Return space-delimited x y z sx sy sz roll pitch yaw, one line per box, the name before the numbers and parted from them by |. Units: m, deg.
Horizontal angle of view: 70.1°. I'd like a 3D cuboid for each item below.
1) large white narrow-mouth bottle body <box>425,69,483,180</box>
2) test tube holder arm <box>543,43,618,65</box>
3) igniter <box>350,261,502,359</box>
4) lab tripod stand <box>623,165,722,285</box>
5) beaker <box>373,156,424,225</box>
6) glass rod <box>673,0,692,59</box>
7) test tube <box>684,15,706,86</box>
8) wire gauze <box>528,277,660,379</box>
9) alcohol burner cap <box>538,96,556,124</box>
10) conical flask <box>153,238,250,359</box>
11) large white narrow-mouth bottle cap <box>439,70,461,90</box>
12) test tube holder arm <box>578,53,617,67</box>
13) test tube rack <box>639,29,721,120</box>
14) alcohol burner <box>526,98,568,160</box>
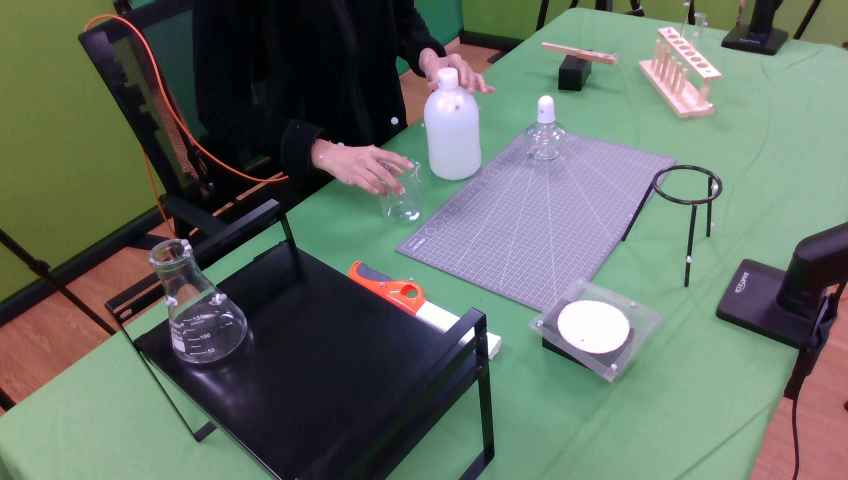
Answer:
large white narrow-mouth bottle body | 0.053 -0.212 1.091 0.102 0.195 0.101 -5 41 4
test tube holder arm | 0.344 -0.413 1.340 0.177 0.015 0.013 25 51 31
igniter | -0.009 0.094 0.870 0.274 0.025 0.057 25 60 33
lab tripod stand | 0.365 -0.030 0.874 0.148 0.132 0.147 -6 41 6
beaker | -0.038 -0.082 1.023 0.084 0.101 0.073 -17 44 -9
glass rod | 0.537 -0.437 1.257 0.008 0.200 0.008 0 39 1
test tube | 0.541 -0.378 1.215 0.017 0.151 0.017 -2 44 3
wire gauze | 0.213 0.103 0.763 0.124 0.011 0.122 30 52 35
alcohol burner cap | 0.222 -0.237 1.095 0.034 0.048 0.033 -7 34 5
conical flask | -0.225 0.055 0.597 0.075 0.122 0.075 -5 41 4
large white narrow-mouth bottle cap | 0.044 -0.275 1.035 0.038 0.024 0.037 -4 40 4
test tube holder arm | 0.376 -0.393 1.314 0.087 0.015 0.010 26 51 32
test tube rack | 0.527 -0.351 1.262 0.067 0.085 0.241 -8 40 1
alcohol burner | 0.228 -0.210 1.118 0.078 0.119 0.077 -5 43 5
